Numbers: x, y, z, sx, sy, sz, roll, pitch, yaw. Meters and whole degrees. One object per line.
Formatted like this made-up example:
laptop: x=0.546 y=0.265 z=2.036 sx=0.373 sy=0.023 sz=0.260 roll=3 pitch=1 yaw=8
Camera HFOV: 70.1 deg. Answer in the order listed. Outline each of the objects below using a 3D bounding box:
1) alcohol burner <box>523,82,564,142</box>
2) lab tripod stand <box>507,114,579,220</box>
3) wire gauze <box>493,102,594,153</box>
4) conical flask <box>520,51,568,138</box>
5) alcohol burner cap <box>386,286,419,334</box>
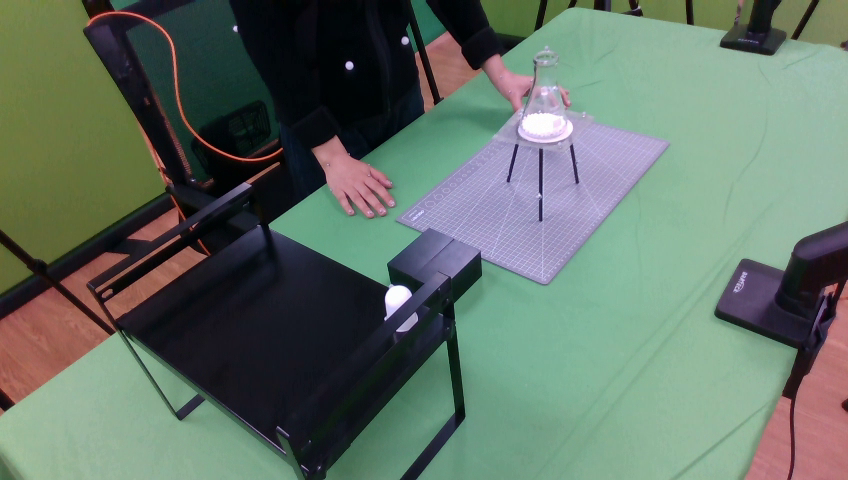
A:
alcohol burner: x=0.230 y=-0.250 z=1.160 sx=0.078 sy=0.119 sz=0.077 roll=-4 pitch=42 yaw=5
lab tripod stand: x=0.199 y=-0.128 z=1.005 sx=0.148 sy=0.132 sz=0.147 roll=-3 pitch=42 yaw=3
wire gauze: x=0.191 y=-0.179 z=0.965 sx=0.120 sy=0.011 sz=0.125 roll=18 pitch=49 yaw=29
conical flask: x=0.185 y=-0.223 z=0.926 sx=0.075 sy=0.122 sz=0.075 roll=-4 pitch=41 yaw=4
alcohol burner cap: x=-0.024 y=0.067 z=0.604 sx=0.034 sy=0.048 sz=0.033 roll=-4 pitch=40 yaw=4
